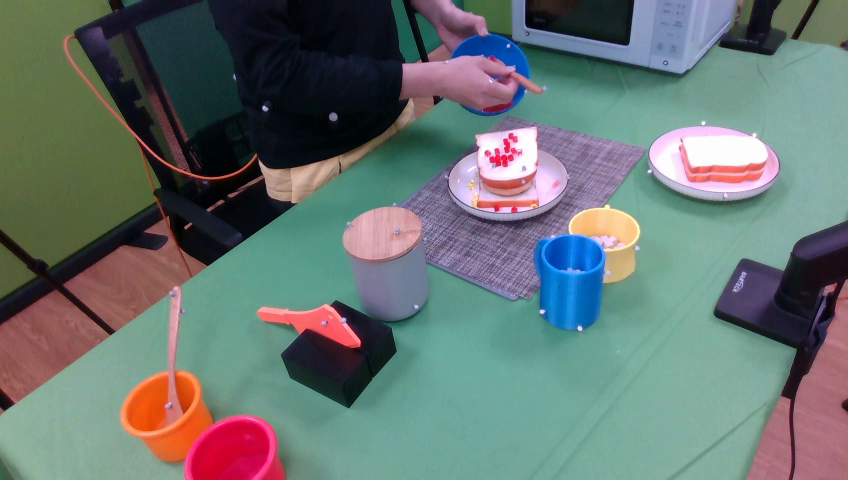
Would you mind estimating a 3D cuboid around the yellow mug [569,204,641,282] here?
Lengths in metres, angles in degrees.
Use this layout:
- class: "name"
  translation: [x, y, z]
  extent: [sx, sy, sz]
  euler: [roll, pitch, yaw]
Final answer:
- class: "yellow mug"
  translation: [0.268, -0.005, 0.904]
  extent: [0.099, 0.064, 0.130]
  euler: [7, 41, 15]

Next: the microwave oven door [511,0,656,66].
- class: "microwave oven door"
  translation: [0.351, -0.539, 1.349]
  extent: [0.353, 0.245, 0.039]
  euler: [24, 50, 31]

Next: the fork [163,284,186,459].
- class: "fork"
  translation: [-0.302, 0.157, 0.733]
  extent: [0.028, 0.019, 0.207]
  euler: [-4, 84, 16]

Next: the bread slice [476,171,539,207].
- class: "bread slice"
  translation: [0.144, -0.104, 1.058]
  extent: [0.105, 0.019, 0.131]
  euler: [-1, 42, 6]

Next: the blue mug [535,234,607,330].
- class: "blue mug"
  translation: [0.190, 0.048, 0.824]
  extent: [0.082, 0.106, 0.115]
  euler: [-26, 44, -21]

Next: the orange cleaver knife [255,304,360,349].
- class: "orange cleaver knife"
  translation: [-0.161, 0.115, 0.813]
  extent: [0.210, 0.077, 0.012]
  euler: [-4, 32, 47]

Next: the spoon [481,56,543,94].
- class: "spoon"
  translation: [0.142, -0.270, 0.984]
  extent: [0.042, 0.022, 0.192]
  euler: [-20, 31, -9]

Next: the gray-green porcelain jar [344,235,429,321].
- class: "gray-green porcelain jar"
  translation: [-0.049, 0.042, 0.849]
  extent: [0.106, 0.127, 0.105]
  euler: [-4, 41, 4]

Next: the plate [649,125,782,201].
- class: "plate"
  translation: [0.493, -0.127, 1.036]
  extent: [0.207, 0.039, 0.206]
  euler: [-4, 41, 4]

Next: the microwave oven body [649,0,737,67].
- class: "microwave oven body"
  translation: [0.475, -0.602, 1.411]
  extent: [0.438, 0.261, 0.327]
  euler: [23, 50, 32]

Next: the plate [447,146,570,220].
- class: "plate"
  translation: [0.145, -0.098, 1.046]
  extent: [0.209, 0.038, 0.208]
  euler: [-4, 41, 4]

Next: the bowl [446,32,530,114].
- class: "bowl"
  translation: [0.112, -0.293, 1.109]
  extent: [0.152, 0.077, 0.151]
  euler: [1, 81, -4]

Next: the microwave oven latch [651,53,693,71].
- class: "microwave oven latch"
  translation: [0.532, -0.386, 1.301]
  extent: [0.078, 0.029, 0.030]
  euler: [27, 52, 34]

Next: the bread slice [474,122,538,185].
- class: "bread slice"
  translation: [0.141, -0.144, 1.008]
  extent: [0.107, 0.018, 0.133]
  euler: [-8, 48, 8]

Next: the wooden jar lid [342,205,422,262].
- class: "wooden jar lid"
  translation: [-0.055, -0.006, 0.808]
  extent: [0.108, 0.021, 0.108]
  euler: [-6, 40, 6]
